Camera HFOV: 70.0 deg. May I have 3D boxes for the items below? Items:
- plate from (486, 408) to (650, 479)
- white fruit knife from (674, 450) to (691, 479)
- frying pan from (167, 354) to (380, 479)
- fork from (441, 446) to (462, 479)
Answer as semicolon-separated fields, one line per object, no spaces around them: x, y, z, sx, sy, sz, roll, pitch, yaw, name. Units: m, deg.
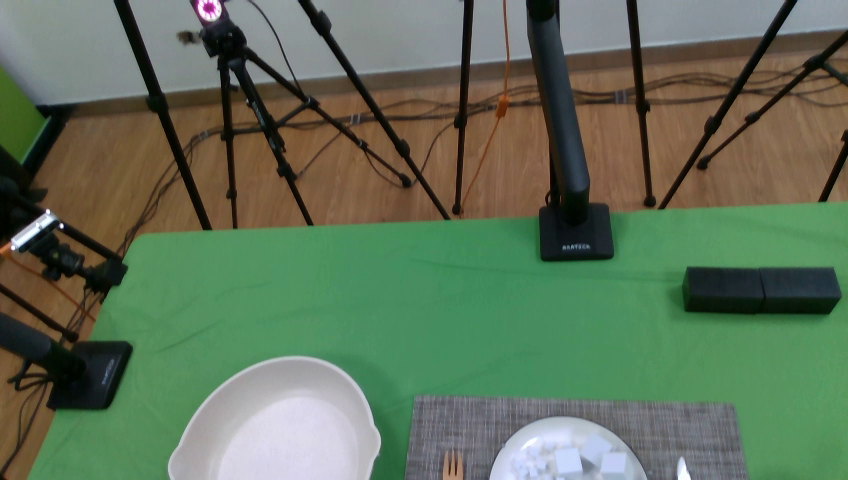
0.185;0.324;0.784;0.207;0.039;0.205;-6;53;8;plate
0.332;0.360;0.741;0.027;0.016;0.205;-1;54;6;white fruit knife
-0.206;0.380;0.790;0.306;0.104;0.483;-8;44;8;frying pan
0.033;0.374;0.792;0.028;0.019;0.205;3;52;2;fork
